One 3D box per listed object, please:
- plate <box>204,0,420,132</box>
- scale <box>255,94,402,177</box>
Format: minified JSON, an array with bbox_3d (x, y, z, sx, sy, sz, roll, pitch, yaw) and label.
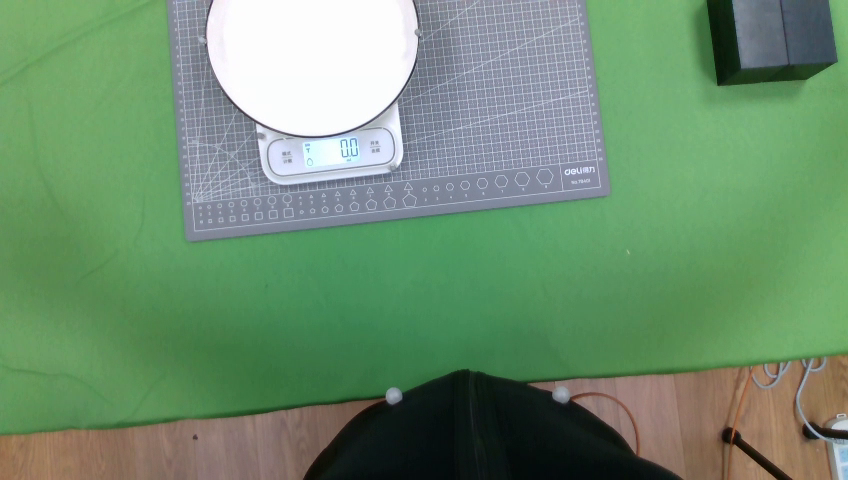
[{"bbox_3d":[-0.108,-0.206,0.603,0.209,0.038,0.208,0,86,-2],"label":"plate"},{"bbox_3d":[-0.106,-0.172,0.634,0.149,0.031,0.200,-7,86,-1],"label":"scale"}]
